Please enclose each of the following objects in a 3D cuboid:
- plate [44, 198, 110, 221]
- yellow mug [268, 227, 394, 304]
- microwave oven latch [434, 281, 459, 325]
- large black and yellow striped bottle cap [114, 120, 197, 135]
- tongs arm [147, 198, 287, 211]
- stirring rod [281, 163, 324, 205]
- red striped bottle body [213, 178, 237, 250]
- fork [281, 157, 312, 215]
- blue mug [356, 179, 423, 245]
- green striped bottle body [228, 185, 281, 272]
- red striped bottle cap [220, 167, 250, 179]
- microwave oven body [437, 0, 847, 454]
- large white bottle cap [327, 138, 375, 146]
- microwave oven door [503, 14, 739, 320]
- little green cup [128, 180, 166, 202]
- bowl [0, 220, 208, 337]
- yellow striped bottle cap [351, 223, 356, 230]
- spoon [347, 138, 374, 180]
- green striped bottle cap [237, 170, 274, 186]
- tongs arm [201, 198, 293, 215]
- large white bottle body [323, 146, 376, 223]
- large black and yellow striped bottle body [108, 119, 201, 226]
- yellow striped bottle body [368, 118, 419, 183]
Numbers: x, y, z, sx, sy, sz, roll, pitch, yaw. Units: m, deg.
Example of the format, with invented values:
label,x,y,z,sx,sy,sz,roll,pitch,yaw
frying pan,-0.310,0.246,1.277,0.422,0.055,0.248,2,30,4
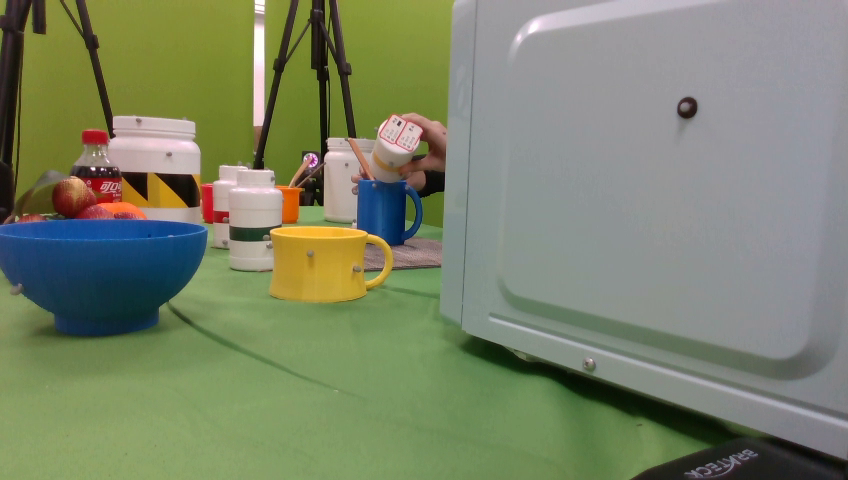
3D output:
label,x,y,z,sx,sy,sz,roll,pitch,yaw
plate,-0.617,-0.056,1.179,0.209,0.038,0.209,3,7,0
yellow mug,-0.094,0.023,0.629,0.131,0.064,0.099,0,7,-22
microwave oven latch,0.044,0.045,0.470,0.079,0.029,0.030,-2,8,-39
large black and yellow striped bottle cap,-0.407,-0.171,0.920,0.115,0.019,0.115,2,9,0
tongs arm,-0.504,-0.091,1.513,0.028,0.028,0.389,-1,4,37
stirring rod,-0.278,-0.105,1.293,0.176,0.006,0.014,-47,25,-18
red striped bottle body,-0.284,-0.048,0.909,0.063,0.119,0.063,3,10,0
fork,-0.289,-0.116,1.321,0.028,0.019,0.207,6,51,19
blue mug,-0.057,-0.047,1.007,0.116,0.106,0.082,4,8,20
green striped bottle body,-0.208,-0.023,0.745,0.063,0.119,0.063,2,7,0
red striped bottle cap,-0.281,-0.100,0.901,0.044,0.017,0.044,-1,5,0
microwave oven body,0.279,-0.040,0.464,0.444,0.260,0.324,-3,9,-41
large white bottle cap,-0.160,-0.218,1.357,0.115,0.018,0.115,2,8,0
microwave oven door,0.217,-0.065,0.601,0.358,0.243,0.039,-4,10,-41
little green cup,-0.485,-0.087,1.062,0.061,0.038,0.061,-1,6,0
bowl,-0.251,0.029,0.479,0.151,0.077,0.151,2,7,0
yellow striped bottle cap,-0.115,-0.022,1.144,0.044,0.018,0.044,3,8,0
spoon,-0.089,-0.095,1.025,0.042,0.193,0.021,-11,-19,-38
green striped bottle cap,-0.205,-0.075,0.737,0.044,0.020,0.044,1,6,0
tongs arm,-0.423,-0.084,1.473,0.050,0.026,0.386,2,6,21
large white bottle body,-0.163,-0.134,1.369,0.131,0.184,0.130,2,7,0
large black and yellow striped bottle body,-0.412,-0.088,0.930,0.131,0.184,0.130,3,7,0
yellow striped bottle body,-0.051,-0.132,0.936,0.063,0.062,0.120,0,-21,-15
